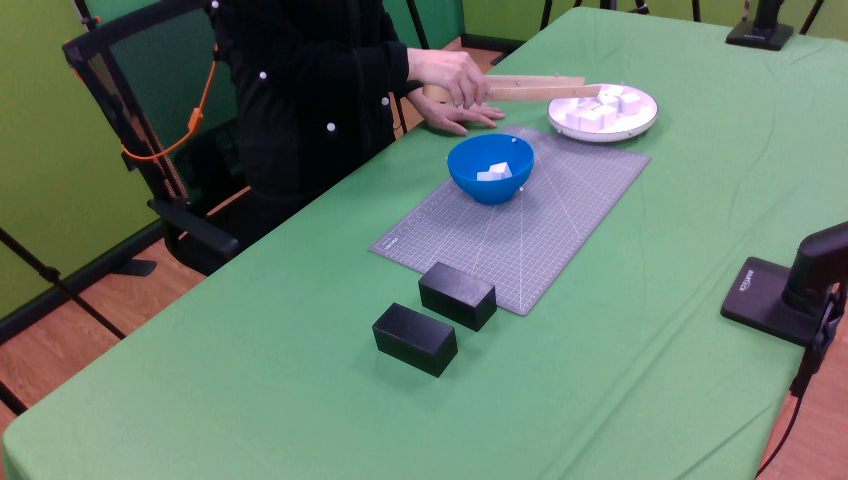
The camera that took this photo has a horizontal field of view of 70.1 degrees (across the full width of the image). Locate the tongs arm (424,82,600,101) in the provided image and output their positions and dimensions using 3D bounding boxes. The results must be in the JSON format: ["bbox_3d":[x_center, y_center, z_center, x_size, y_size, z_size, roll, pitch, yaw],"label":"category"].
[{"bbox_3d":[0.177,-0.272,1.115,0.390,0.028,0.028,-7,44,-29],"label":"tongs arm"}]

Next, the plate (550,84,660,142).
[{"bbox_3d":[0.355,-0.246,1.195,0.207,0.039,0.206,-5,39,5],"label":"plate"}]

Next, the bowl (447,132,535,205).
[{"bbox_3d":[0.119,-0.115,1.051,0.151,0.077,0.150,-6,40,5],"label":"bowl"}]

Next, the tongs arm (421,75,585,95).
[{"bbox_3d":[0.164,-0.289,1.135,0.387,0.026,0.050,-6,40,-27],"label":"tongs arm"}]
